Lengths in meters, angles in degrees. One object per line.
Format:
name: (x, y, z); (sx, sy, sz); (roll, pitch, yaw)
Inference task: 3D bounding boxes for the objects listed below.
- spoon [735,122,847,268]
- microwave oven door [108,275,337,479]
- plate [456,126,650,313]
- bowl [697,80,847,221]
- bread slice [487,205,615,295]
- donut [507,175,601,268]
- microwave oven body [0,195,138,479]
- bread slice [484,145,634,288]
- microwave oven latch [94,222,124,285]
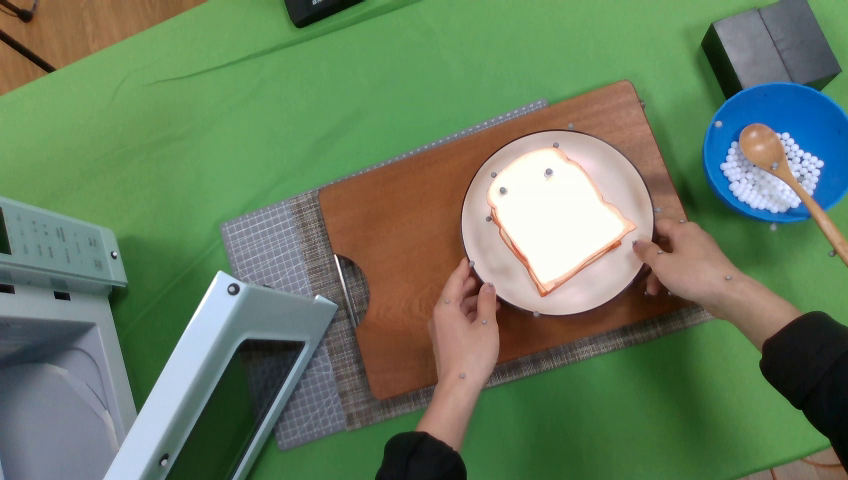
spoon: (0.380, -0.048, 0.617); (0.041, 0.022, 0.191); (-20, 55, 4)
microwave oven door: (-0.222, 0.206, 0.611); (0.039, 0.245, 0.355); (27, 86, 14)
plate: (0.140, -0.022, 0.675); (0.207, 0.039, 0.207); (-2, 82, 11)
bowl: (0.368, -0.087, 0.656); (0.151, 0.077, 0.151); (-2, 81, 10)
bread slice: (0.132, -0.019, 0.678); (0.105, 0.019, 0.131); (-35, 79, 2)
donut: (0.137, -0.020, 0.645); (0.099, 0.048, 0.099); (-1, 84, 5)
microwave oven body: (-0.507, 0.217, 0.664); (0.326, 0.261, 0.439); (-22, 78, 5)
bread slice: (0.126, -0.030, 0.619); (0.107, 0.018, 0.133); (-40, 71, 5)
microwave oven latch: (-0.414, 0.018, 0.780); (0.030, 0.029, 0.079); (-21, 78, 5)
